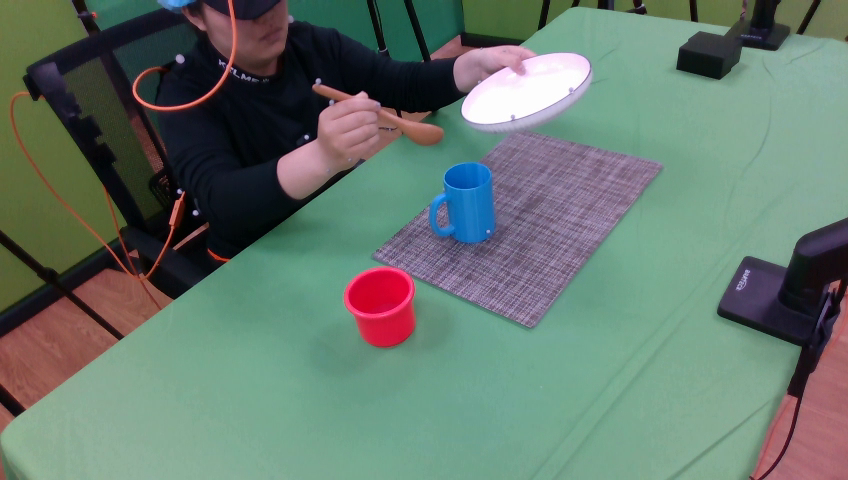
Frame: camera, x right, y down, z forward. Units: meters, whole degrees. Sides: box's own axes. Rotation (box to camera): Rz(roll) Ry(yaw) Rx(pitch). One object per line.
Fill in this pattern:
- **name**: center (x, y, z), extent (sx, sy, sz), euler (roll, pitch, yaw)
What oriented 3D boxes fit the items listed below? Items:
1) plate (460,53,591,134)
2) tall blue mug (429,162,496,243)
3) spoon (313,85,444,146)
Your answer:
- **plate**: center (0.159, -0.223, 0.944), extent (0.207, 0.039, 0.206), euler (-18, 34, 13)
- **tall blue mug**: center (0.067, -0.051, 0.960), extent (0.077, 0.108, 0.107), euler (17, 47, 27)
- **spoon**: center (-0.058, -0.168, 0.815), extent (0.195, 0.041, 0.021), euler (20, 53, -23)
